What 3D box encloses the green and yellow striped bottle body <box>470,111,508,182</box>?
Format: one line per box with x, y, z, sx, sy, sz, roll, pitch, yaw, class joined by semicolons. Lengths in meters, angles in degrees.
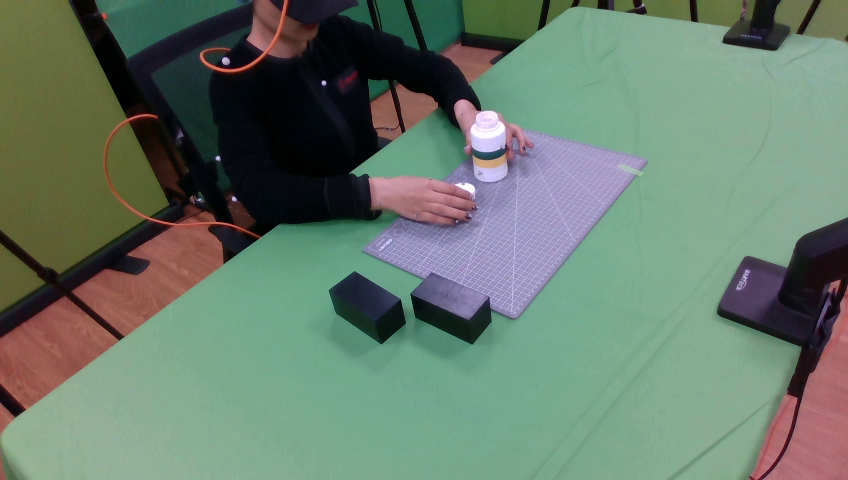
0.117;-0.169;1.079;0.063;0.120;0.063;-6;40;5;green and yellow striped bottle body

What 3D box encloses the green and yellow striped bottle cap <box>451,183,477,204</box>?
0.070;-0.082;1.054;0.045;0.020;0.045;-4;35;3;green and yellow striped bottle cap
